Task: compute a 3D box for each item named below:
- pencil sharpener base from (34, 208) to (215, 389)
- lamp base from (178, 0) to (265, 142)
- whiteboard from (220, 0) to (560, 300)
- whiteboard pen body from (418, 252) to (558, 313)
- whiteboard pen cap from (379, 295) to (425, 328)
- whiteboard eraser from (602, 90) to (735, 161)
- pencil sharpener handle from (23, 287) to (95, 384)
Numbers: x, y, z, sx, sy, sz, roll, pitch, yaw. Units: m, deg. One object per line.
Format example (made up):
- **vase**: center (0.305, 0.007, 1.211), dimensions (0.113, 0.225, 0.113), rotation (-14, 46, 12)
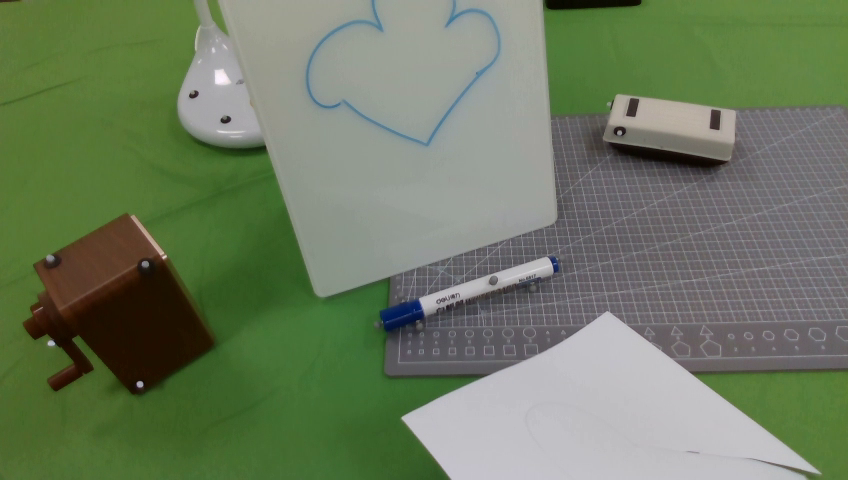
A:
- **pencil sharpener base**: center (-0.207, 0.044, 0.426), dimensions (0.076, 0.108, 0.061), rotation (-35, 56, -23)
- **lamp base**: center (-0.197, -0.216, 0.603), dimensions (0.177, 0.182, 0.160), rotation (32, 58, 30)
- **whiteboard**: center (-0.029, -0.143, 0.484), dimensions (0.217, 0.308, 0.142), rotation (-17, 31, -10)
- **whiteboard pen body**: center (0.039, 0.036, 0.468), dimensions (0.141, 0.017, 0.017), rotation (-17, 50, -10)
- **whiteboard pen cap**: center (-0.016, 0.054, 0.458), dimensions (0.033, 0.018, 0.018), rotation (-18, 50, -10)
- **whiteboard eraser**: center (0.228, -0.106, 0.567), dimensions (0.112, 0.042, 0.055), rotation (13, 52, 15)
- **pencil sharpener handle**: center (-0.244, 0.065, 0.394), dimensions (0.030, 0.068, 0.035), rotation (-35, 43, -23)
